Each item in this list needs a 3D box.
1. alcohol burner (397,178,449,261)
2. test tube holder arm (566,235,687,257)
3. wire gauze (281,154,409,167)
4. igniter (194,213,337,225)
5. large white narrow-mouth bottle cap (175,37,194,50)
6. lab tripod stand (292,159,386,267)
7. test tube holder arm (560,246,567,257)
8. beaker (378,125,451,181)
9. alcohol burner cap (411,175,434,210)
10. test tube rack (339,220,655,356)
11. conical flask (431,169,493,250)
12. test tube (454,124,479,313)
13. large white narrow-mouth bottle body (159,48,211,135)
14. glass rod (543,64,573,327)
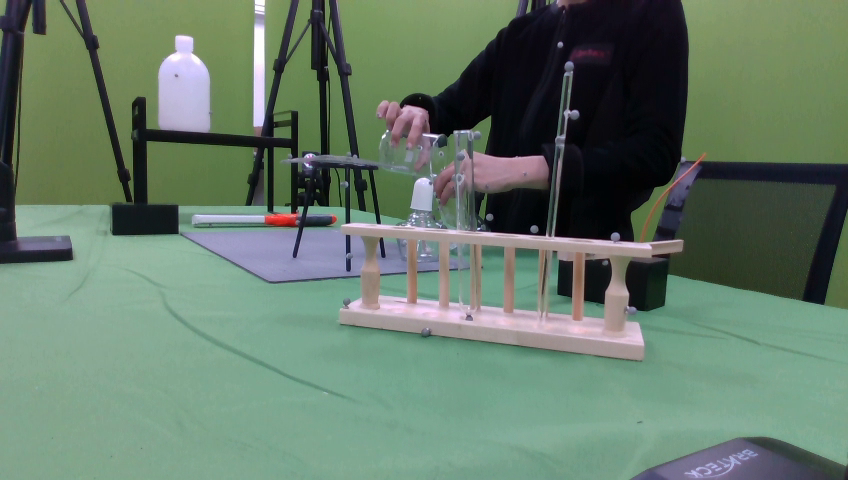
[{"bbox_3d":[-0.002,-0.031,0.846,0.078,0.119,0.078,0,6,0],"label":"alcohol burner"},{"bbox_3d":[0.215,0.006,0.630,0.179,0.015,0.013,-3,9,-31],"label":"test tube holder arm"},{"bbox_3d":[-0.104,-0.104,0.784,0.126,0.011,0.121,-2,8,-38],"label":"wire gauze"},{"bbox_3d":[-0.306,-0.042,1.196,0.278,0.025,0.057,-2,-2,-30],"label":"igniter"},{"bbox_3d":[-0.501,-0.410,1.264,0.038,0.024,0.037,2,7,0],"label":"large white narrow-mouth bottle cap"},{"bbox_3d":[-0.105,-0.039,0.797,0.148,0.131,0.148,2,5,0],"label":"lab tripod stand"},{"bbox_3d":[0.173,0.007,0.611,0.088,0.015,0.010,-3,9,-30],"label":"test tube holder arm"},{"bbox_3d":[-0.017,-0.142,0.973,0.100,0.084,0.074,12,11,24],"label":"beaker"},{"bbox_3d":[0.000,-0.067,0.842,0.034,0.048,0.034,7,8,-1],"label":"alcohol burner cap"},{"bbox_3d":[0.056,0.032,0.495,0.242,0.085,0.067,4,7,15],"label":"test tube rack"},{"bbox_3d":[0.050,-0.050,0.946,0.075,0.121,0.075,-27,-11,-5],"label":"conical flask"},{"bbox_3d":[0.034,-0.015,0.477,0.017,0.150,0.017,-2,9,1],"label":"test tube"},{"bbox_3d":[-0.503,-0.323,1.275,0.102,0.194,0.102,2,7,0],"label":"large white narrow-mouth bottle body"},{"bbox_3d":[0.101,-0.028,0.453,0.008,0.199,0.008,2,13,0],"label":"glass rod"}]
